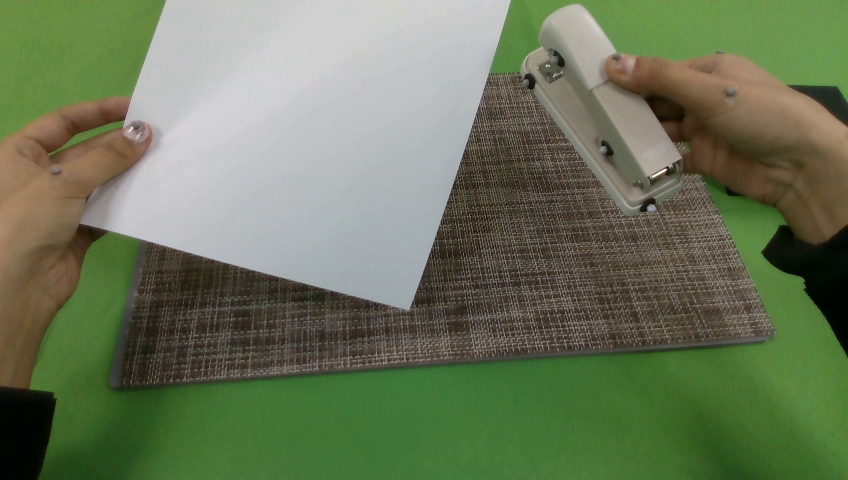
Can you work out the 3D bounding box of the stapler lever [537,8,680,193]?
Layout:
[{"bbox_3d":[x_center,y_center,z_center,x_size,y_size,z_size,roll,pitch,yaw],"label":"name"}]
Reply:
[{"bbox_3d":[0.106,-0.084,0.352,0.027,0.040,0.117,-29,70,-3],"label":"stapler lever"}]

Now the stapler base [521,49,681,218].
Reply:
[{"bbox_3d":[0.107,-0.077,0.375,0.041,0.024,0.129,-29,71,-3],"label":"stapler base"}]
